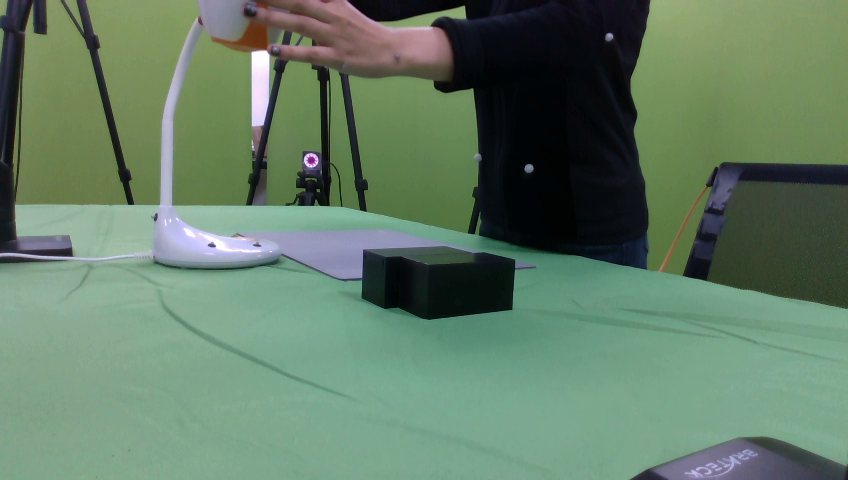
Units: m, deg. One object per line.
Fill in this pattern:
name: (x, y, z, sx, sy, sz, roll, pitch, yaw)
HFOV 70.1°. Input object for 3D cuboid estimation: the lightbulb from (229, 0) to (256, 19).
lightbulb: (-0.176, -0.276, 0.603, 0.059, 0.107, 0.059, 11, 12, -2)

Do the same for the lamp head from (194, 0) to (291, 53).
lamp head: (-0.186, -0.254, 0.610, 0.112, 0.123, 0.112, 11, 20, -4)

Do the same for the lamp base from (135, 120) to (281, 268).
lamp base: (-0.276, -0.061, 0.773, 0.160, 0.180, 0.180, 9, 13, 44)
